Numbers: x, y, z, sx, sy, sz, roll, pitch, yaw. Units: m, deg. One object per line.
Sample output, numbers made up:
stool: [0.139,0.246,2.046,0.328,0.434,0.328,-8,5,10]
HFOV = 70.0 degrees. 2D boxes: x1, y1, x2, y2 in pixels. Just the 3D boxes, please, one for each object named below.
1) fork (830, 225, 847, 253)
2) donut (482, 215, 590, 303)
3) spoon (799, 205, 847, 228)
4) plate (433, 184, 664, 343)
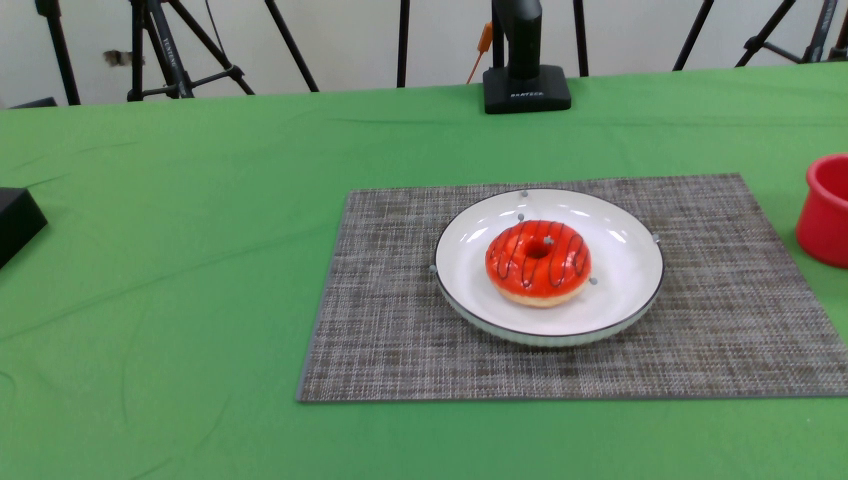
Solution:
fork: [0.443,-0.075,0.556,0.019,0.207,0.028,27,7,-16]
donut: [0.103,0.017,0.561,0.099,0.049,0.098,-5,43,5]
spoon: [0.413,-0.032,0.520,0.041,0.193,0.021,-30,91,-17]
plate: [0.114,0.021,0.572,0.209,0.038,0.207,-3,40,3]
